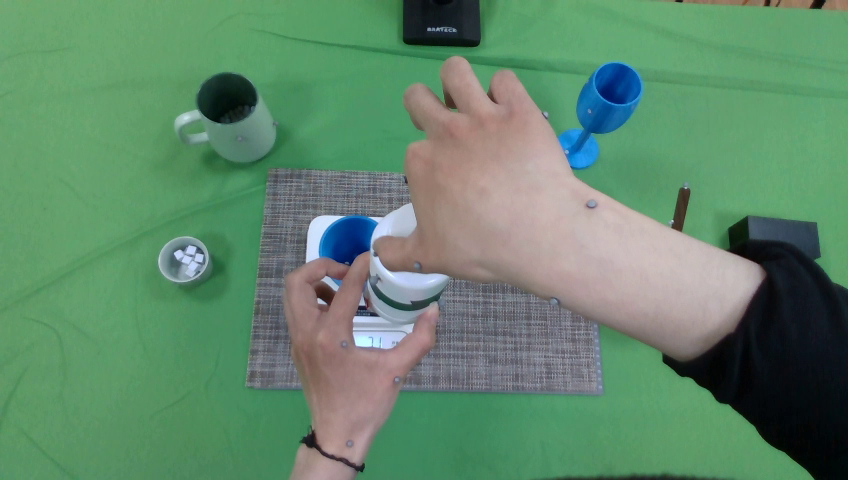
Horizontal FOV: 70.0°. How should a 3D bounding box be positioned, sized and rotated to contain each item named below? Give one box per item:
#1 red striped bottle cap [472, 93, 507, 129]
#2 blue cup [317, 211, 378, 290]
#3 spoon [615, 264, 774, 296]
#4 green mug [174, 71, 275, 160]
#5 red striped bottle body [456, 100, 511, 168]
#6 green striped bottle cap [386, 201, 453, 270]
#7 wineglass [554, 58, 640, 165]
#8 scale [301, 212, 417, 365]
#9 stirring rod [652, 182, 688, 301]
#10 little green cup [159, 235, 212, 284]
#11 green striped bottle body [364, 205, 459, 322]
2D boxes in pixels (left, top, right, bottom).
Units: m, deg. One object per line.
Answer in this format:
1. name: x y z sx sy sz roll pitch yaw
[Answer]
1. red striped bottle cap: 0.084 -0.166 0.776 0.044 0.018 0.044 1 69 -3
2. blue cup: -0.084 0.021 0.736 0.093 0.100 0.092 2 75 -5
3. spoon: 0.335 0.057 0.766 0.022 0.192 0.041 25 75 -42
4. green mug: -0.269 -0.160 0.814 0.125 0.105 0.092 -20 75 -9
5. red striped bottle body: 0.081 -0.150 0.828 0.063 0.120 0.062 1 72 -4
6. green striped bottle cap: -0.003 -0.003 0.401 0.044 0.020 0.044 2 67 -4
7. wineglass: 0.228 -0.168 0.816 0.074 0.173 0.073 1 72 -3
8. scale: -0.083 0.061 0.792 0.149 0.032 0.199 1 73 -3
9. stirring rod: 0.316 0.006 0.781 0.014 0.177 0.006 6 31 11
10. little green cup: -0.306 0.028 0.787 0.061 0.039 0.061 2 72 -5
11. green striped bottle body: -0.011 0.016 0.448 0.063 0.120 0.062 3 67 -7
